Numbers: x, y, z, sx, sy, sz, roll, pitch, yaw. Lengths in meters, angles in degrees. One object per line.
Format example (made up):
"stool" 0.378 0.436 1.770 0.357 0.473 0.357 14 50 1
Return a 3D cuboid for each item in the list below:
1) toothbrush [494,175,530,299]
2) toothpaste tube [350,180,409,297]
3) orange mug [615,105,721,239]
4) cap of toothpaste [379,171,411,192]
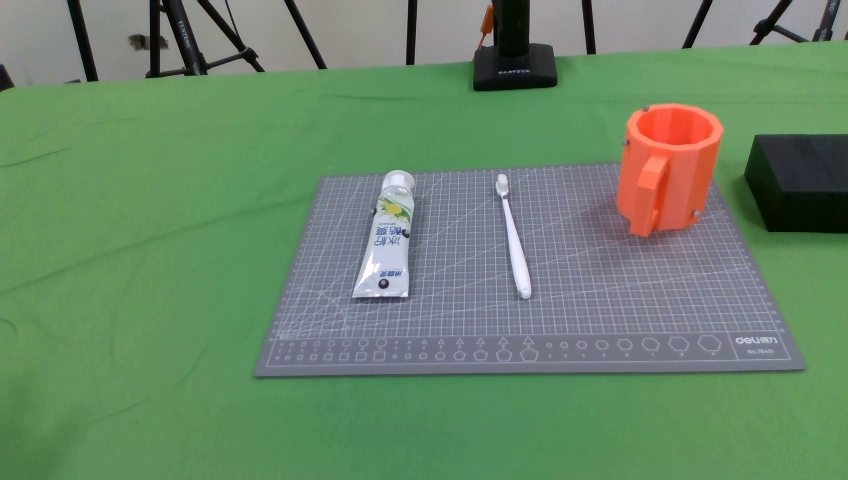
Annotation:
"toothbrush" 0.089 -0.009 0.617 0.014 0.017 0.180 4 42 -7
"toothpaste tube" -0.040 -0.006 0.624 0.055 0.035 0.163 -5 45 10
"orange mug" 0.232 -0.062 0.596 0.083 0.102 0.126 18 43 27
"cap of toothpaste" -0.033 -0.062 0.677 0.037 0.038 0.011 1 48 9
